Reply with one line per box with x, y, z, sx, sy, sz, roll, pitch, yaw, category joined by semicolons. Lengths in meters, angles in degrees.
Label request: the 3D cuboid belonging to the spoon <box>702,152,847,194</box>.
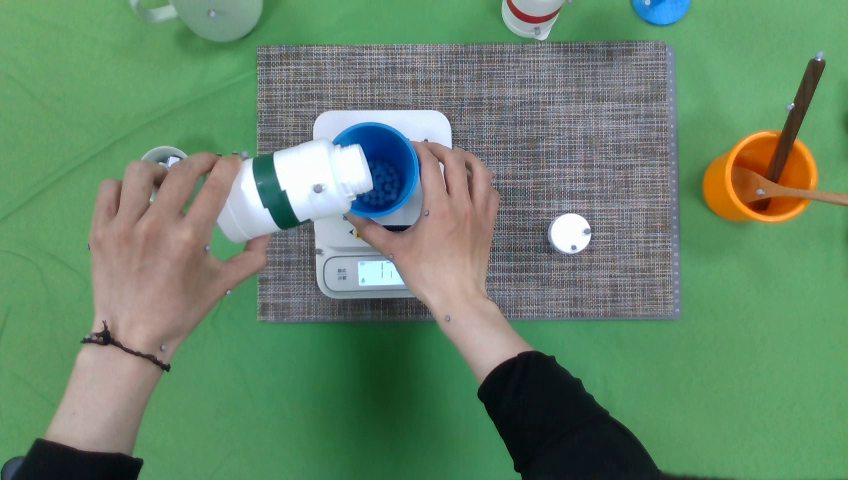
0.370;-0.056;0.590;0.022;0.192;0.041;7;98;-43;spoon

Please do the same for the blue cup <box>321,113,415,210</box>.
-0.051;-0.068;0.580;0.093;0.100;0.092;0;90;-2;blue cup

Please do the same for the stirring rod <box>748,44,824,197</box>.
0.350;-0.108;0.591;0.014;0.178;0.006;8;48;14;stirring rod

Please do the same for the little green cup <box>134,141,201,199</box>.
-0.269;-0.072;0.645;0.061;0.038;0.061;0;88;-2;little green cup

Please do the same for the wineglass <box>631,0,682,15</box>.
0.255;-0.284;0.583;0.074;0.172;0.073;0;88;1;wineglass

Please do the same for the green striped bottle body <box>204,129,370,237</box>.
-0.105;-0.048;0.480;0.119;0.063;0.063;-17;88;5;green striped bottle body

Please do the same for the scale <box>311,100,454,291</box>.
-0.044;-0.047;0.645;0.149;0.031;0.200;-2;89;0;scale

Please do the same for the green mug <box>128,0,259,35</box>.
-0.240;-0.262;0.618;0.125;0.105;0.092;-23;89;0;green mug

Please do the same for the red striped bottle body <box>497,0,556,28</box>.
0.111;-0.266;0.610;0.063;0.120;0.063;0;88;0;red striped bottle body

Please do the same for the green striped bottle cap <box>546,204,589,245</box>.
0.154;-0.017;0.652;0.044;0.020;0.044;0;85;1;green striped bottle cap
